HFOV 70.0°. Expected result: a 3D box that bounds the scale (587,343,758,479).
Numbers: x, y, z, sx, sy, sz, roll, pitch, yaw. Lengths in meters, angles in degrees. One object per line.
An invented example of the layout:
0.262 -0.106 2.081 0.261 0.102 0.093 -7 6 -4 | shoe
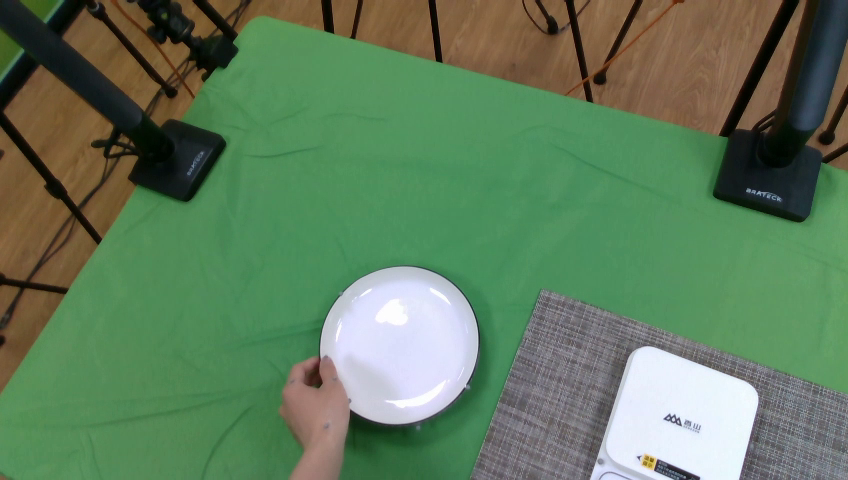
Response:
0.284 0.230 0.694 0.148 0.032 0.200 20 71 16 | scale

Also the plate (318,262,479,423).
-0.031 0.130 0.780 0.209 0.038 0.207 -3 67 7 | plate
